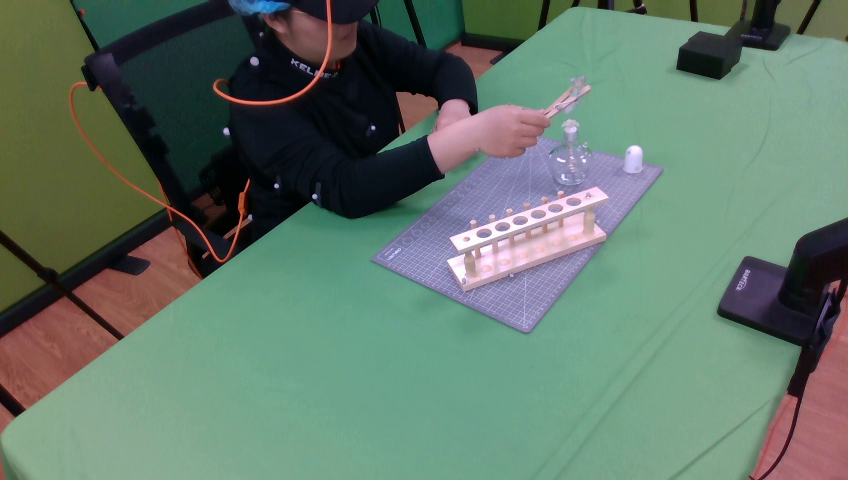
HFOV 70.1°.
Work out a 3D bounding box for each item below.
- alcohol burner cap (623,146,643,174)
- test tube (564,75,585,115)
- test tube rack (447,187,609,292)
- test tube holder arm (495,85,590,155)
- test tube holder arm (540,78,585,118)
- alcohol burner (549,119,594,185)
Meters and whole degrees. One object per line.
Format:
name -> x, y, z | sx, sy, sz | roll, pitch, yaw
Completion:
alcohol burner cap -> 0.369, -0.142, 1.062 | 0.034, 0.048, 0.033 | -7, 41, 6
test tube -> 0.244, -0.234, 0.986 | 0.017, 0.150, 0.017 | -1, 83, 6
test tube rack -> 0.155, -0.011, 0.913 | 0.243, 0.085, 0.066 | -19, 40, -11
test tube holder arm -> 0.190, -0.193, 0.977 | 0.178, 0.015, 0.013 | -36, 79, 9
test tube holder arm -> 0.222, -0.225, 0.972 | 0.088, 0.015, 0.010 | -43, 78, 7
alcohol burner -> 0.254, -0.155, 1.043 | 0.078, 0.120, 0.077 | -7, 40, 6
